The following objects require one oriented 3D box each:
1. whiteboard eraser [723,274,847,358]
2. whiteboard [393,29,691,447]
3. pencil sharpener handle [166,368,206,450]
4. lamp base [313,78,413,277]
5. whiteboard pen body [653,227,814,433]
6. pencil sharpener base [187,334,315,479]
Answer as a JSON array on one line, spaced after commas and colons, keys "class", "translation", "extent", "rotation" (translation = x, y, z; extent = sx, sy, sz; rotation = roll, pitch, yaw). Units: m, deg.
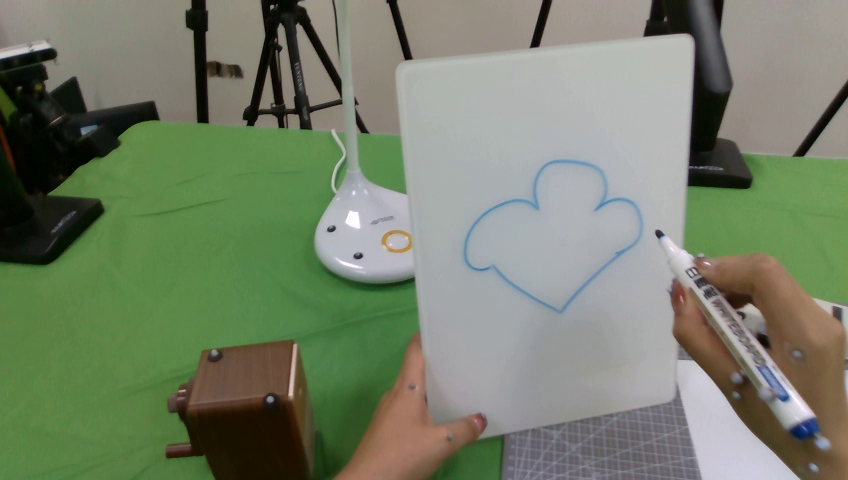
[{"class": "whiteboard eraser", "translation": [0.343, 0.072, 0.575], "extent": [0.112, 0.042, 0.055], "rotation": [17, 42, 23]}, {"class": "whiteboard", "translation": [0.088, -0.010, 0.525], "extent": [0.217, 0.307, 0.143], "rotation": [-8, 19, -7]}, {"class": "pencil sharpener handle", "translation": [-0.179, 0.127, 0.445], "extent": [0.031, 0.068, 0.035], "rotation": [-5, 25, -4]}, {"class": "lamp base", "translation": [-0.059, -0.077, 0.670], "extent": [0.161, 0.182, 0.177], "rotation": [-27, 42, -29]}, {"class": "whiteboard pen body", "translation": [0.168, 0.044, 0.344], "extent": [0.017, 0.017, 0.139], "rotation": [-12, 52, -14]}, {"class": "pencil sharpener base", "translation": [-0.128, 0.131, 0.460], "extent": [0.077, 0.108, 0.060], "rotation": [-5, 38, -4]}]
